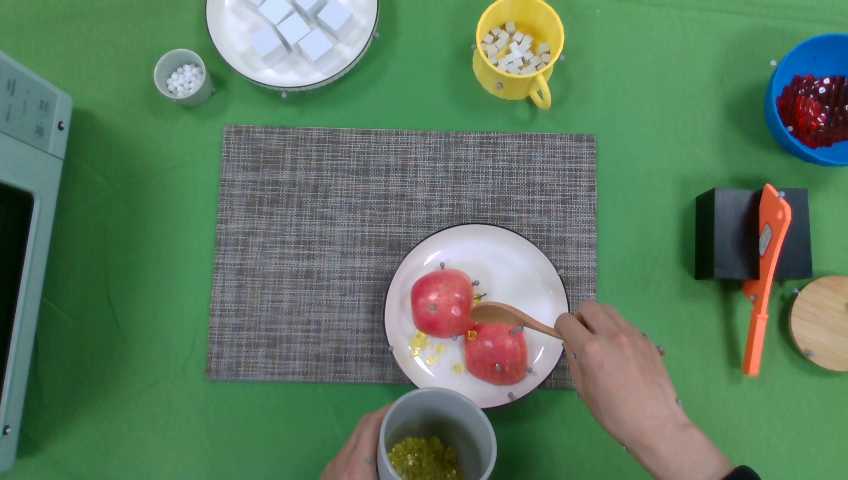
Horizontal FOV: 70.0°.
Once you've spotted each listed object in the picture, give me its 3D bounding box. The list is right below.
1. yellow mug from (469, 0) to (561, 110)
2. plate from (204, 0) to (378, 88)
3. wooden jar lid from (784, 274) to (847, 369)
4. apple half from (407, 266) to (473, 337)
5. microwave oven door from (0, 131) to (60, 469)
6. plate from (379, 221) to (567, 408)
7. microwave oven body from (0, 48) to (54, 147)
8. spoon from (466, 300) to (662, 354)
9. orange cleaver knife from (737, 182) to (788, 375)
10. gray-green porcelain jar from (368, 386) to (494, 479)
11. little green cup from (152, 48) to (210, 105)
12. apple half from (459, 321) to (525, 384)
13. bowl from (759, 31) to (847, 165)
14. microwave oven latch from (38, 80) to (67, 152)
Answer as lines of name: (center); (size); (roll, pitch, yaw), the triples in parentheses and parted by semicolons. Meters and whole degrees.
yellow mug: (0.112, -0.213, 0.712); (0.100, 0.064, 0.130); (-27, 84, -3)
plate: (-0.158, -0.280, 0.738); (0.208, 0.039, 0.207); (0, 83, 1)
wooden jar lid: (0.465, 0.093, 0.693); (0.108, 0.021, 0.108); (0, 83, 2)
apple half: (0.017, 0.068, 0.673); (0.074, 0.053, 0.080); (-1, 83, 3)
microwave oven door: (-0.461, 0.059, 0.577); (0.039, 0.244, 0.354); (5, 83, 2)
plate: (0.054, 0.083, 0.686); (0.209, 0.038, 0.208); (0, 83, 1)
microwave oven body: (-0.603, 0.005, 0.589); (0.326, 0.261, 0.440); (5, 83, 1)
spoon: (0.129, 0.087, 0.586); (0.192, 0.042, 0.021); (12, 56, 31)
orange cleaver knife: (0.365, 0.044, 0.670); (0.012, 0.077, 0.212); (3, 107, 4)
gray-green porcelain jar: (0.002, 0.217, 0.575); (0.106, 0.127, 0.105); (6, 44, -6)
little green cup: (-0.288, -0.193, 0.726); (0.061, 0.039, 0.061); (0, 83, 0)
apple half: (0.077, 0.123, 0.674); (0.081, 0.033, 0.081); (0, 80, 0)
bowl: (0.449, -0.151, 0.695); (0.151, 0.077, 0.151); (0, 83, 1)
microwave oven latch: (-0.439, -0.144, 0.704); (0.030, 0.029, 0.079); (8, 84, 1)
